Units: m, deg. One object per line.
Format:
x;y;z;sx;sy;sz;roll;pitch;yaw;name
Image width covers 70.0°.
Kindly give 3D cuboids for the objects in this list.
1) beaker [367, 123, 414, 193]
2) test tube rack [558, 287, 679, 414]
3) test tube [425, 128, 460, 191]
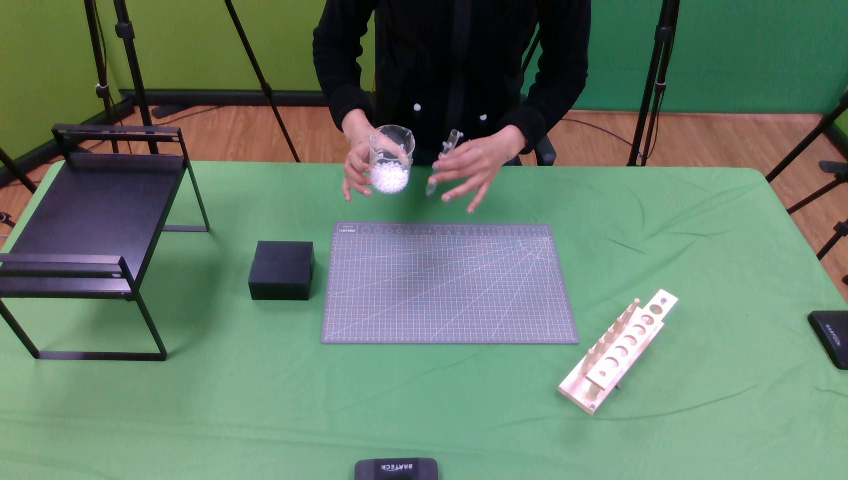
-0.055;-0.133;1.003;0.074;0.100;0.084;38;61;16;beaker
0.326;0.170;1.009;0.066;0.085;0.242;35;54;26;test tube rack
0.028;-0.131;1.016;0.017;0.150;0.017;10;53;-13;test tube
